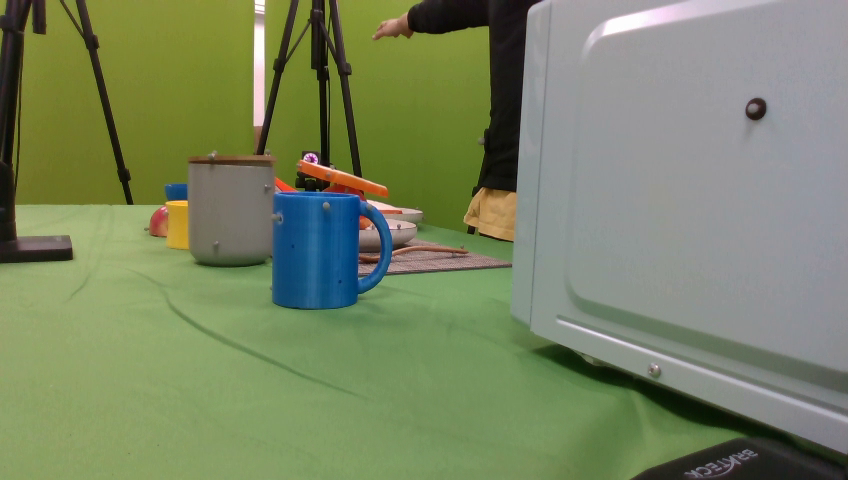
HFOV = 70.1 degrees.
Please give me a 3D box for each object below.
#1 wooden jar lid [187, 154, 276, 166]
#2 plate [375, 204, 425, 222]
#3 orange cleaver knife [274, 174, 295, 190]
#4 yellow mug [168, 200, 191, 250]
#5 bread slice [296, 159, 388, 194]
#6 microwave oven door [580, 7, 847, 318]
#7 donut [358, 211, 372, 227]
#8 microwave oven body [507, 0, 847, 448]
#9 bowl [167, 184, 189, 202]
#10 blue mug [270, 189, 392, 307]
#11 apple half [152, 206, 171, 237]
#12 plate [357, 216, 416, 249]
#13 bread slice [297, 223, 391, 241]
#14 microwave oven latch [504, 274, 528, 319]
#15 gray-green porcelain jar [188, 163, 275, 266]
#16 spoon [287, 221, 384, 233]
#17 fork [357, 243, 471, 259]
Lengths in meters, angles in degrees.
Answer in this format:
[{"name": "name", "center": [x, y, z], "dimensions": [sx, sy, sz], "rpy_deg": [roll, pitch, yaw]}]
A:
[{"name": "wooden jar lid", "center": [-0.244, -0.097, 0.771], "dimensions": [0.108, 0.020, 0.108], "rpy_deg": [-1, 7, 0]}, {"name": "plate", "center": [-0.102, -0.053, 1.299], "dimensions": [0.209, 0.038, 0.209], "rpy_deg": [2, 8, 0]}, {"name": "orange cleaver knife", "center": [-0.283, -0.087, 1.343], "dimensions": [0.212, 0.077, 0.012], "rpy_deg": [23, -15, -41]}, {"name": "yellow mug", "center": [-0.320, -0.023, 0.904], "dimensions": [0.130, 0.064, 0.100], "rpy_deg": [8, 10, 36]}, {"name": "bread slice", "center": [-0.132, -0.102, 0.952], "dimensions": [0.132, 0.019, 0.104], "rpy_deg": [13, 6, -36]}, {"name": "microwave oven door", "center": [0.295, -0.067, 0.570], "dimensions": [0.358, 0.243, 0.039], "rpy_deg": [-3, 8, -31]}, {"name": "donut", "center": [-0.129, -0.042, 0.957], "dimensions": [0.099, 0.048, 0.099], "rpy_deg": [4, 7, 0]}, {"name": "microwave oven body", "center": [0.331, -0.042, 0.425], "dimensions": [0.444, 0.260, 0.324], "rpy_deg": [-2, 8, -31]}, {"name": "bowl", "center": [-0.408, -0.064, 1.154], "dimensions": [0.151, 0.077, 0.151], "rpy_deg": [2, 8, 0]}, {"name": "blue mug", "center": [-0.090, 0.005, 0.588], "dimensions": [0.117, 0.106, 0.082], "rpy_deg": [1, 7, -11]}, {"name": "apple half", "center": [-0.415, -0.034, 1.017], "dimensions": [0.081, 0.053, 0.074], "rpy_deg": [1, 10, -8]}, {"name": "plate", "center": [-0.116, -0.014, 0.967], "dimensions": [0.208, 0.039, 0.207], "rpy_deg": [2, 7, 0]}, {"name": "bread slice", "center": [-0.121, -0.015, 0.970], "dimensions": [0.106, 0.018, 0.135], "rpy_deg": [9, 9, 40]}, {"name": "microwave oven latch", "center": [0.100, 0.041, 0.471], "dimensions": [0.079, 0.029, 0.030], "rpy_deg": [-1, 7, -27]}, {"name": "gray-green porcelain jar", "center": [-0.246, -0.034, 0.780], "dimensions": [0.106, 0.126, 0.106], "rpy_deg": [1, 7, 0]}, {"name": "spoon", "center": [-0.157, -0.027, 1.110], "dimensions": [0.195, 0.021, 0.041], "rpy_deg": [-4, -14, -35]}, {"name": "fork", "center": [-0.017, 0.014, 0.845], "dimensions": [0.208, 0.018, 0.028], "rpy_deg": [-5, -4, -35]}]
